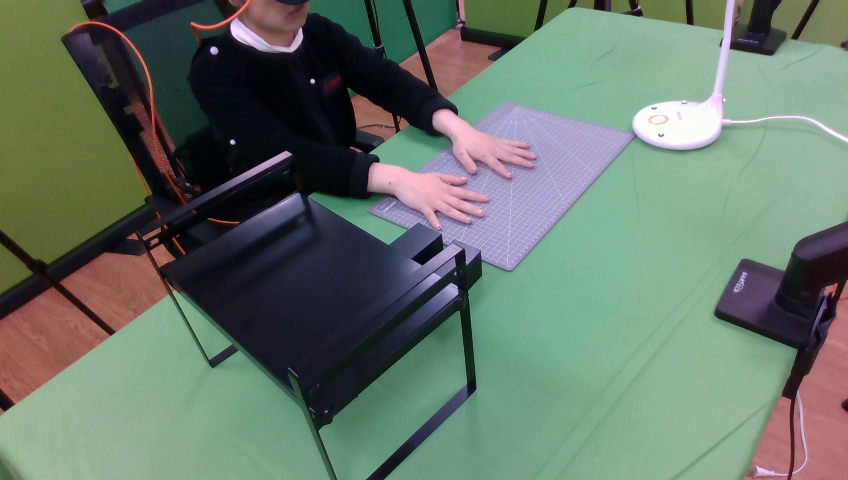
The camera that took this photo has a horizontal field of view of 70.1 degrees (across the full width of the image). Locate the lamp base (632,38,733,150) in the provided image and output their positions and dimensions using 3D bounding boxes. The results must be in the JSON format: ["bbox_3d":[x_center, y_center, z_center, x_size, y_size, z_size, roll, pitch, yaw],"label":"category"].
[{"bbox_3d":[0.486,-0.280,1.108,0.179,0.181,0.159,-5,41,-1],"label":"lamp base"}]
